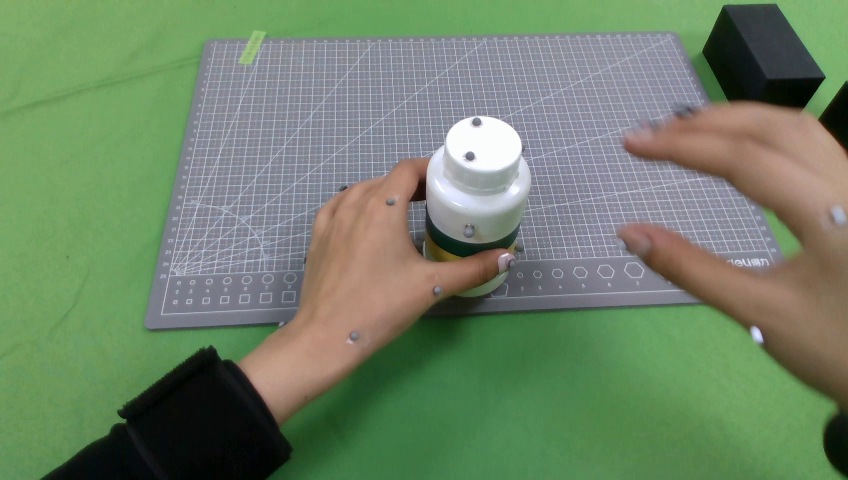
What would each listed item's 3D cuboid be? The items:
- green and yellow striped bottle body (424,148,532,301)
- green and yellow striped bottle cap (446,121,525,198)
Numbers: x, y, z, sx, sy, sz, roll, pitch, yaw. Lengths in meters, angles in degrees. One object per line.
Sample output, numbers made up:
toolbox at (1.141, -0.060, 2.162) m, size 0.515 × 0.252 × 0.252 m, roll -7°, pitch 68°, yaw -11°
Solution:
green and yellow striped bottle body at (0.032, -0.016, 0.385) m, size 0.063 × 0.120 × 0.062 m, roll 1°, pitch 55°, yaw -1°
green and yellow striped bottle cap at (0.035, -0.046, 0.343) m, size 0.045 × 0.020 × 0.045 m, roll 1°, pitch 55°, yaw 0°
